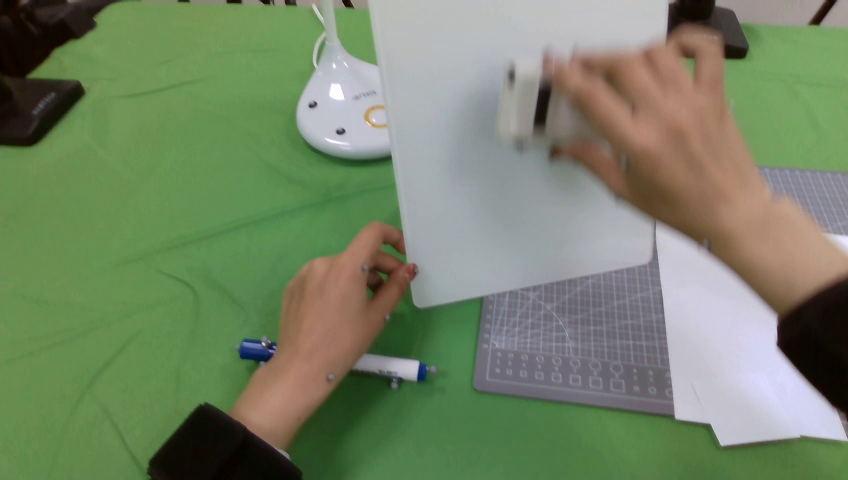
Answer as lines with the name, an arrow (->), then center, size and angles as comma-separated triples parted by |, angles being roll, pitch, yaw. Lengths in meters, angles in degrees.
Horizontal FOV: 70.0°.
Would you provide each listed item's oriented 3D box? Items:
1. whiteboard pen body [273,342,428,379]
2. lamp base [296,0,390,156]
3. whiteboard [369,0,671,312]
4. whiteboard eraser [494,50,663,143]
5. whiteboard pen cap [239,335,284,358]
whiteboard pen body -> -0.067, 0.092, 0.468 | 0.140, 0.017, 0.017 | 6, 47, 5
lamp base -> -0.078, -0.210, 0.651 | 0.160, 0.182, 0.177 | -31, 50, -25
whiteboard -> 0.069, -0.123, 0.515 | 0.217, 0.308, 0.142 | -10, 27, -6
whiteboard eraser -> 0.103, -0.096, 0.413 | 0.113, 0.056, 0.041 | -1, 25, -19
whiteboard pen cap -> -0.126, 0.084, 0.476 | 0.033, 0.018, 0.018 | 5, 47, 5
